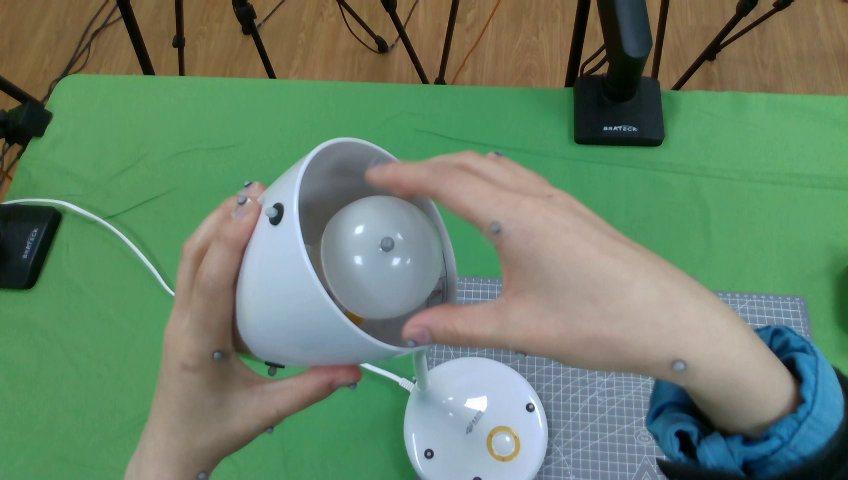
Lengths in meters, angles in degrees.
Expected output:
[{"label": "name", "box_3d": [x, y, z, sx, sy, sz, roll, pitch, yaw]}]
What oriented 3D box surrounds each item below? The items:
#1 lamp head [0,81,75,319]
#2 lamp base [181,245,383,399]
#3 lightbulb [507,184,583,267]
[{"label": "lamp head", "box_3d": [-0.214, -0.005, 0.240, 0.113, 0.122, 0.111, 16, 66, -38]}, {"label": "lamp base", "box_3d": [-0.136, 0.067, 0.558, 0.179, 0.181, 0.160, 8, 79, 4]}, {"label": "lightbulb", "box_3d": [0.123, -0.019, 0.642, 0.059, 0.060, 0.106, -31, 63, -6]}]
